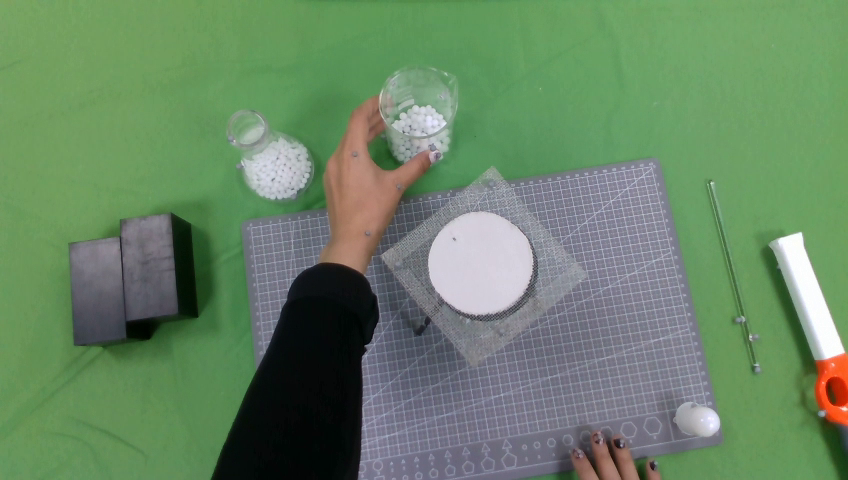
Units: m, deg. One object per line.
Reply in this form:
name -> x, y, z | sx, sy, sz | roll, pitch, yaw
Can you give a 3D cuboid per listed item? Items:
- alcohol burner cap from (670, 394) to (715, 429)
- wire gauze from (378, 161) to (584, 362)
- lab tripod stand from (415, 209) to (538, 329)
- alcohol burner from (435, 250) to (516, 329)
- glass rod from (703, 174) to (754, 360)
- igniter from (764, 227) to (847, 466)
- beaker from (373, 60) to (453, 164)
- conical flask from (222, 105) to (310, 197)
alcohol burner cap -> 0.264, 0.168, 0.589 | 0.034, 0.048, 0.033 | 0, 80, 0
wire gauze -> 0.047, 0.016, 0.498 | 0.125, 0.011, 0.121 | -38, 84, -5
lab tripod stand -> 0.046, 0.033, 0.563 | 0.148, 0.132, 0.148 | 0, 82, 0
alcohol burner -> 0.050, 0.044, 0.572 | 0.078, 0.119, 0.077 | 0, 78, -1
glass rod -> 0.318, 0.026, 0.633 | 0.008, 0.008, 0.199 | -9, 81, -2
igniter -> 0.406, 0.121, 0.608 | 0.057, 0.025, 0.275 | -13, 81, -14
beaker -> -0.007, -0.125, 0.609 | 0.084, 0.100, 0.073 | -38, 81, -7
conical flask -> -0.159, -0.091, 0.591 | 0.075, 0.122, 0.075 | 0, 80, 0
